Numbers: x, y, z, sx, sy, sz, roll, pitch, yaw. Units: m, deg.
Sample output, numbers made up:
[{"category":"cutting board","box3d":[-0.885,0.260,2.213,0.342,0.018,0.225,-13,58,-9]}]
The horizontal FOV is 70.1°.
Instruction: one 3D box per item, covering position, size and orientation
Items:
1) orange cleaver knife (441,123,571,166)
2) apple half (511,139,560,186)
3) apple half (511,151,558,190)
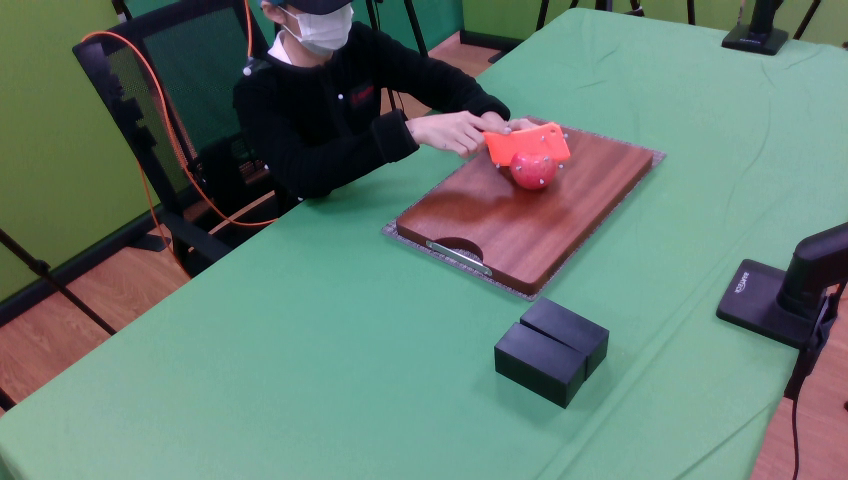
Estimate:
[{"category":"orange cleaver knife","box3d":[0.132,-0.153,0.989,0.210,0.077,0.012,2,40,21]},{"category":"apple half","box3d":[0.190,-0.135,1.021,0.080,0.075,0.053,4,37,19]},{"category":"apple half","box3d":[0.179,-0.107,0.991,0.081,0.081,0.033,6,44,16]}]
